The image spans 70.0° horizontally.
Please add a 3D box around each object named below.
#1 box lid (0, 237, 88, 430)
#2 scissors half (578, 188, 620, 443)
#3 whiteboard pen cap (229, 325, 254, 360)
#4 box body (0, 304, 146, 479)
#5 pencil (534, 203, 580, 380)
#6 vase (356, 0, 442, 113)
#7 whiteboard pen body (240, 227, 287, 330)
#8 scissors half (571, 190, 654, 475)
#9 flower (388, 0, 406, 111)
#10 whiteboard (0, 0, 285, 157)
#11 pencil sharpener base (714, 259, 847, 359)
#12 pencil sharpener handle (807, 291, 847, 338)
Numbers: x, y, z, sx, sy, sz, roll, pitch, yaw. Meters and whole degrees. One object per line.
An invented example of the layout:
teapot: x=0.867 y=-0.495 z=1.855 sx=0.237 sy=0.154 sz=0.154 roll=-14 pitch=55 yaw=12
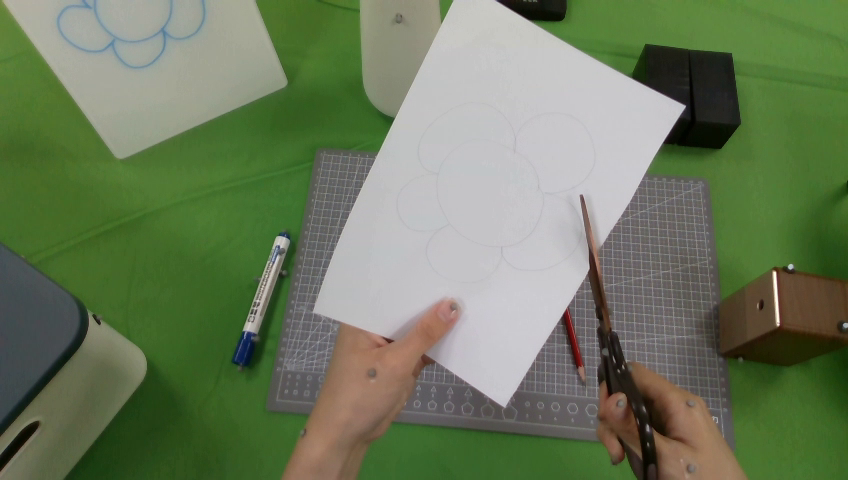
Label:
box lid: x=-0.473 y=0.063 z=0.460 sx=0.370 sy=0.015 sz=0.262 roll=30 pitch=70 yaw=12
scissors half: x=0.113 y=0.051 z=0.388 sx=0.013 sy=0.040 sz=0.176 roll=-12 pitch=108 yaw=5
whiteboard pen cap: x=-0.180 y=0.101 z=0.602 sx=0.018 sy=0.018 sz=0.033 roll=11 pitch=63 yaw=5
box body: x=-0.471 y=0.094 z=0.528 sx=0.362 sy=0.161 sz=0.253 roll=30 pitch=70 yaw=12
pencil: x=0.139 y=0.049 z=0.633 sx=0.012 sy=0.012 sz=0.192 roll=-8 pitch=69 yaw=-3
vase: x=-0.029 y=-0.226 z=0.648 sx=0.098 sy=0.201 sz=0.097 roll=0 pitch=65 yaw=1
whiteboard pen body: x=-0.169 y=0.049 z=0.627 sx=0.017 sy=0.017 sz=0.140 roll=11 pitch=66 yaw=5
scissors half: x=0.112 y=0.053 z=0.366 sx=0.013 sy=0.040 sz=0.174 roll=-12 pitch=80 yaw=0
flower: x=-0.035 y=-0.272 z=0.577 sx=0.044 sy=0.365 sz=0.038 roll=-2 pitch=49 yaw=3
whiteboard: x=-0.318 y=-0.285 z=0.646 sx=0.217 sy=0.308 sz=0.142 roll=-28 pitch=50 yaw=-11
pencil sharpener base: x=0.336 y=0.069 z=0.573 sx=0.077 sy=0.107 sz=0.061 roll=9 pitch=66 yaw=0
pencil sharpener handle: x=0.387 y=0.074 z=0.562 sx=0.030 sy=0.068 sz=0.035 roll=9 pitch=61 yaw=0
